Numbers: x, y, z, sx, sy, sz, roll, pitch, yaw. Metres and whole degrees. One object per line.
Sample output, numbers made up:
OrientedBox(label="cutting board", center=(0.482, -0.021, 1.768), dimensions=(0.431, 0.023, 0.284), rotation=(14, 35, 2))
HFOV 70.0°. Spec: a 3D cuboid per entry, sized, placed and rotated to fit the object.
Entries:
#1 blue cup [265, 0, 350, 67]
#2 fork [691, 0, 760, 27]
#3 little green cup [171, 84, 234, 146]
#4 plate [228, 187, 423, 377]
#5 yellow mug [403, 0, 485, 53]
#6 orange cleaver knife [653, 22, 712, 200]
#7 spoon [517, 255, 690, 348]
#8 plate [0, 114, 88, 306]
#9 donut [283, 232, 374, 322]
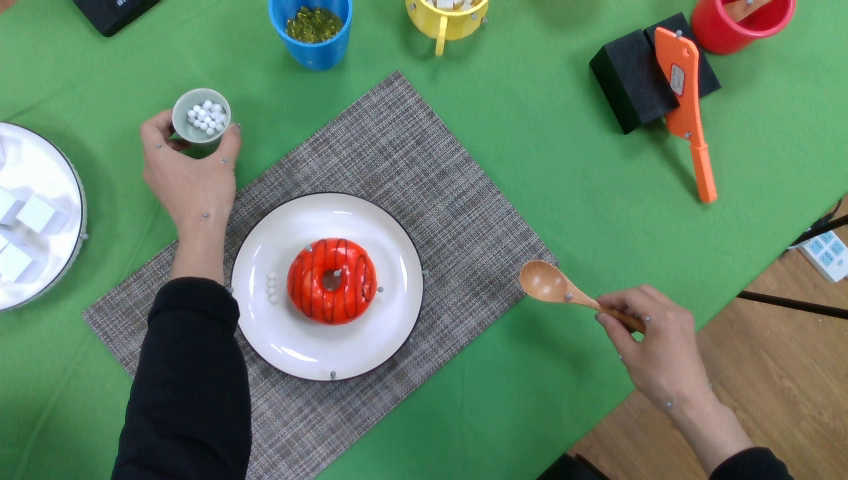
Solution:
OrientedBox(label="blue cup", center=(-0.123, -0.236, 0.664), dimensions=(0.093, 0.100, 0.092), rotation=(0, 86, -6))
OrientedBox(label="fork", center=(0.413, -0.290, 0.689), dimensions=(0.206, 0.019, 0.028), rotation=(-14, 83, 36))
OrientedBox(label="little green cup", center=(-0.238, -0.133, 0.660), dimensions=(0.061, 0.039, 0.061), rotation=(0, 80, -1))
OrientedBox(label="plate", center=(-0.107, 0.046, 0.670), dimensions=(0.209, 0.038, 0.208), rotation=(0, 86, -4))
OrientedBox(label="yellow mug", center=(0.024, -0.281, 0.697), dimensions=(0.100, 0.064, 0.130), rotation=(9, 86, -4))
OrientedBox(label="orange cleaver knife", center=(0.298, -0.146, 0.699), dimensions=(0.012, 0.076, 0.213), rotation=(-24, 117, -4))
OrientedBox(label="spoon", center=(0.187, 0.069, 0.632), dimensions=(0.193, 0.022, 0.041), rotation=(25, 81, 7))
OrientedBox(label="plate", center=(-0.466, -0.030, 0.652), dimensions=(0.208, 0.039, 0.207), rotation=(0, 85, -4))
OrientedBox(label="donut", center=(-0.103, 0.040, 0.660), dimensions=(0.099, 0.048, 0.099), rotation=(0, 87, -4))
